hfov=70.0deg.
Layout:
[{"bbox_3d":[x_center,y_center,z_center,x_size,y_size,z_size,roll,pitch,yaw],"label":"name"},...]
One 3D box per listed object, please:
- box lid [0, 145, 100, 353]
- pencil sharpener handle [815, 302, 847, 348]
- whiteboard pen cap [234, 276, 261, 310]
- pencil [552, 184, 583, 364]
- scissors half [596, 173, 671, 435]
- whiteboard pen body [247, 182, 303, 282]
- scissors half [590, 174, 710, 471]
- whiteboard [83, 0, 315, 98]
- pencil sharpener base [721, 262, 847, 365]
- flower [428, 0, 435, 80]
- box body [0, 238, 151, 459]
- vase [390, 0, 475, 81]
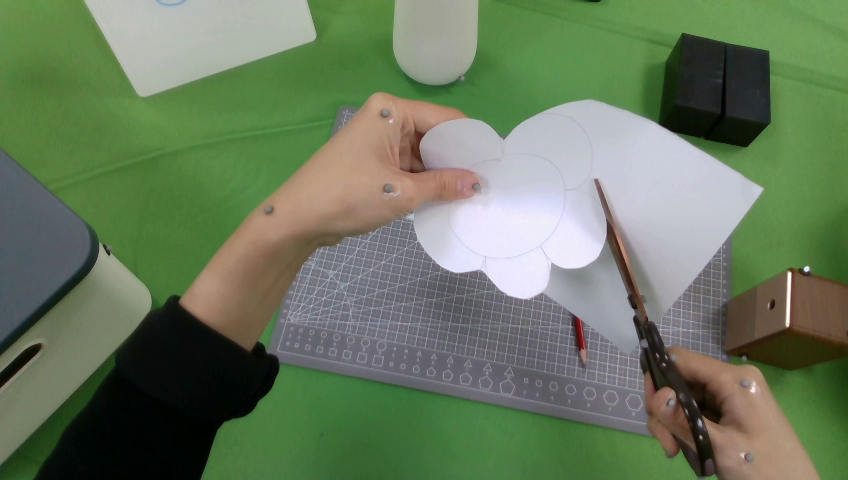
[{"bbox_3d":[-0.463,-0.012,0.461,0.370,0.015,0.262,36,71,11],"label":"box lid"},{"bbox_3d":[0.393,0.082,0.556,0.030,0.068,0.035,15,63,1],"label":"pencil sharpener handle"},{"bbox_3d":[-0.174,0.052,0.602,0.018,0.018,0.033,16,65,5],"label":"whiteboard pen cap"},{"bbox_3d":[0.150,0.031,0.628,0.012,0.012,0.192,-2,70,-3],"label":"pencil"},{"bbox_3d":[0.127,0.041,0.361,0.013,0.040,0.176,-19,109,9],"label":"scissors half"},{"bbox_3d":[-0.157,0.001,0.625,0.017,0.017,0.140,17,67,5],"label":"whiteboard pen body"},{"bbox_3d":[0.125,0.044,0.340,0.013,0.040,0.174,-19,83,4],"label":"scissors half"},{"bbox_3d":[-0.272,-0.347,0.636,0.217,0.308,0.142,-22,51,-10],"label":"whiteboard"},{"bbox_3d":[0.342,0.072,0.568,0.077,0.107,0.061,15,68,1],"label":"pencil sharpener base"},{"bbox_3d":[0.008,-0.304,0.565,0.044,0.365,0.038,4,50,3],"label":"flower"},{"bbox_3d":[-0.464,0.017,0.529,0.362,0.161,0.253,36,72,11],"label":"box body"},{"bbox_3d":[0.010,-0.260,0.637,0.098,0.201,0.097,0,67,-1],"label":"vase"}]
